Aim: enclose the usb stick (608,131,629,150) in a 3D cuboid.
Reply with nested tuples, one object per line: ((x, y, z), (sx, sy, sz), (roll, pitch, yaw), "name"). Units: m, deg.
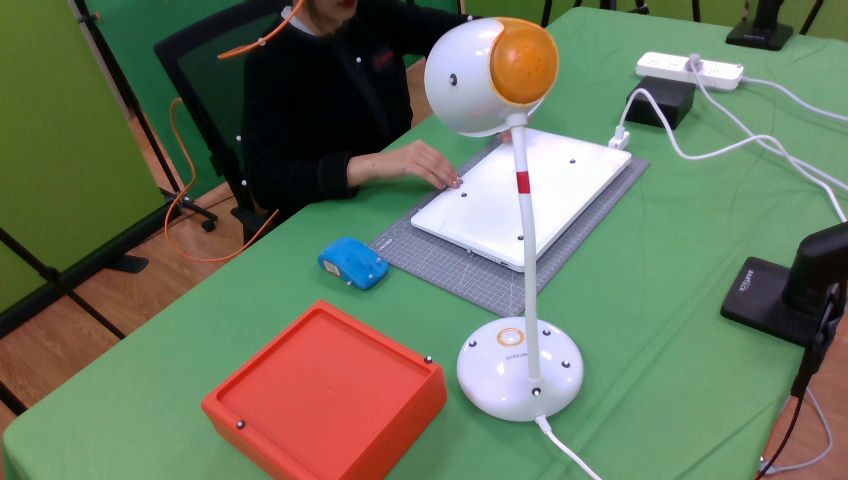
((0.354, -0.175, 1.109), (0.021, 0.027, 0.059), (25, 52, 30), "usb stick")

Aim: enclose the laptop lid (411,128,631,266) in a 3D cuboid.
((0.172, -0.093, 1.048), (0.239, 0.013, 0.358), (24, 50, 36), "laptop lid")

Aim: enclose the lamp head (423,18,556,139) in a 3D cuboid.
((0.068, -0.151, 0.563), (0.113, 0.113, 0.122), (-21, 18, -13), "lamp head")

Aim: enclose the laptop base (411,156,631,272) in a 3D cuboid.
((0.175, -0.083, 1.054), (0.233, 0.023, 0.355), (21, 49, 36), "laptop base")

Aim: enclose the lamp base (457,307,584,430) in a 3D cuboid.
((0.115, 0.108, 0.713), (0.161, 0.181, 0.178), (-17, 43, -8), "lamp base")

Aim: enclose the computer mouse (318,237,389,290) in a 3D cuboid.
((-0.113, 0.033, 0.959), (0.116, 0.041, 0.063), (28, 51, 31), "computer mouse")

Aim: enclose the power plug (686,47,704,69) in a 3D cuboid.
((0.564, -0.384, 1.247), (0.035, 0.073, 0.052), (22, 71, 15), "power plug")

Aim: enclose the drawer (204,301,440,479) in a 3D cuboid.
((-0.119, 0.193, 0.735), (0.210, 0.073, 0.195), (23, 49, 32), "drawer")

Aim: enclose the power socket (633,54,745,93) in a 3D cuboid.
((0.563, -0.358, 1.295), (0.225, 0.033, 0.072), (21, 50, 30), "power socket")

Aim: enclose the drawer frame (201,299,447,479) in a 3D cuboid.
((-0.117, 0.193, 0.733), (0.212, 0.083, 0.202), (23, 48, 31), "drawer frame")
